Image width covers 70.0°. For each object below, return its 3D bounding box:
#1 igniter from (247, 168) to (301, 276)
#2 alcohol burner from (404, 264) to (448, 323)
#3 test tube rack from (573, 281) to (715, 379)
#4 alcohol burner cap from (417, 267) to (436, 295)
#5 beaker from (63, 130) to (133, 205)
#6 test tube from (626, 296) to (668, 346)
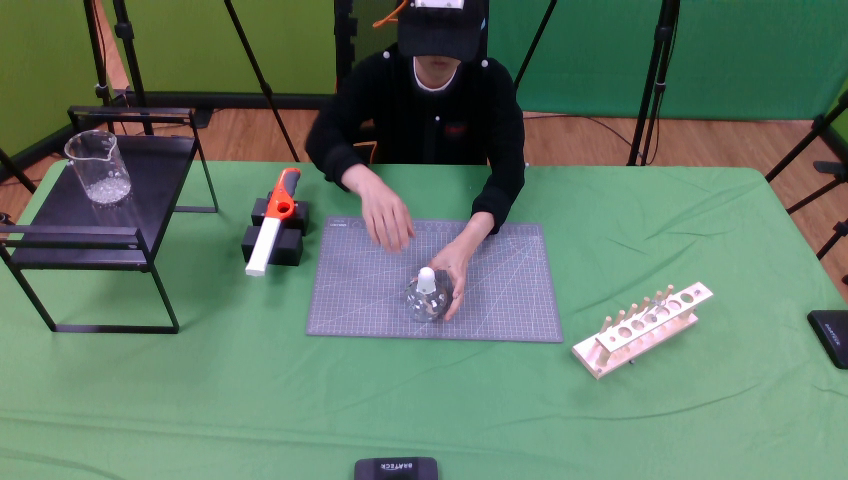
[{"bbox_3d":[-0.282,-0.043,1.149,0.057,0.025,0.275,8,48,-1],"label":"igniter"},{"bbox_3d":[0.003,0.087,1.042,0.078,0.120,0.077,1,45,-1],"label":"alcohol burner"},{"bbox_3d":[0.378,0.140,1.038,0.242,0.085,0.066,-22,51,-23],"label":"test tube rack"},{"bbox_3d":[0.004,0.066,1.019,0.034,0.048,0.033,-1,47,1],"label":"alcohol burner cap"},{"bbox_3d":[-0.511,-0.112,0.964,0.083,0.101,0.074,31,52,23],"label":"beaker"},{"bbox_3d":[0.352,0.133,0.970,0.017,0.151,0.017,3,54,-4],"label":"test tube"}]
